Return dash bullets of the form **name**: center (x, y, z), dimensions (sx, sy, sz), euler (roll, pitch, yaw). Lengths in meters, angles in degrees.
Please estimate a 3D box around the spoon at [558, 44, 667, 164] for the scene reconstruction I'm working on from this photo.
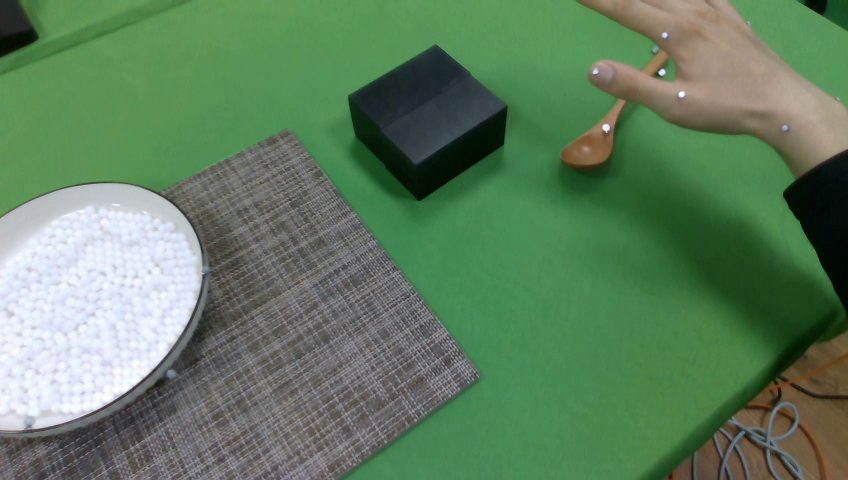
- **spoon**: center (0.183, -0.130, 0.560), dimensions (0.041, 0.022, 0.193), euler (23, 62, 34)

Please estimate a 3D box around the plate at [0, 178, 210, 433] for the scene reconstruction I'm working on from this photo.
- **plate**: center (-0.265, 0.045, 0.463), dimensions (0.209, 0.038, 0.207), euler (-1, 59, 2)
